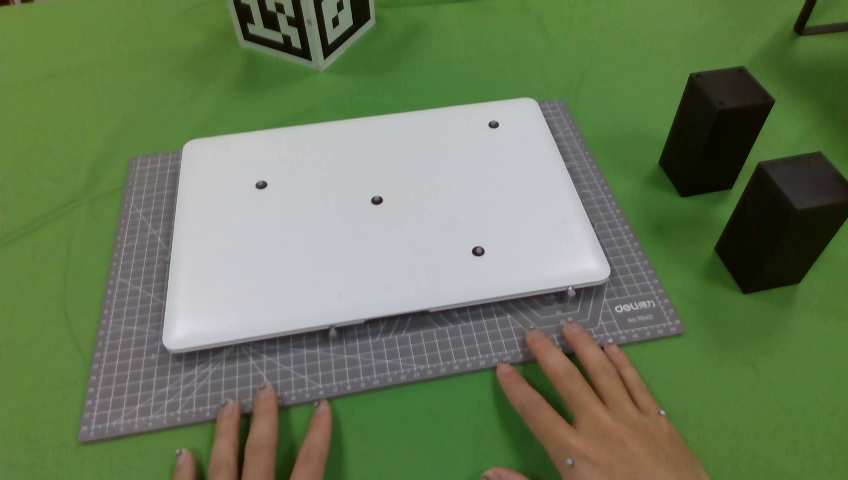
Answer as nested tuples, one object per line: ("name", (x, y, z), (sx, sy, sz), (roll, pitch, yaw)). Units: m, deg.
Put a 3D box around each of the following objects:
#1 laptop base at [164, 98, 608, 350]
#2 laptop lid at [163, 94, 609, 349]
("laptop base", (-0.041, -0.028, 0.544), (0.355, 0.023, 0.233), (-9, 54, -6))
("laptop lid", (-0.042, -0.034, 0.533), (0.357, 0.013, 0.239), (-7, 53, -4))
